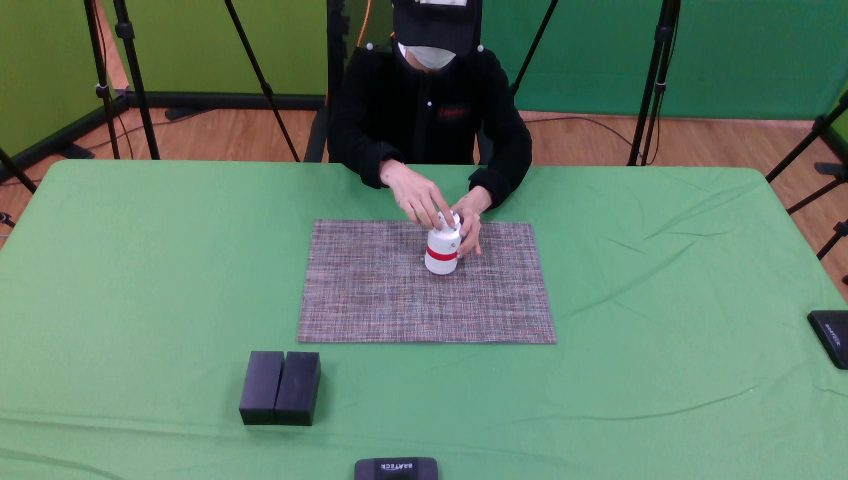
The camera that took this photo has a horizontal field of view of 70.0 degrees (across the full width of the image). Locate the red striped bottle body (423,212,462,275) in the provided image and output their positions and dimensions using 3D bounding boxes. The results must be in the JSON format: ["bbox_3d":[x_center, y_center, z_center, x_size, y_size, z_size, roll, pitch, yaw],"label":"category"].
[{"bbox_3d":[0.035,0.003,1.123,0.063,0.120,0.062,4,44,-4],"label":"red striped bottle body"}]

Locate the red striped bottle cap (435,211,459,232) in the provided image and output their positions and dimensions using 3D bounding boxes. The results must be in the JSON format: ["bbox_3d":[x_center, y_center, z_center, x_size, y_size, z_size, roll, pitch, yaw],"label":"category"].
[{"bbox_3d":[0.041,-0.034,1.086,0.044,0.018,0.044,1,41,-1],"label":"red striped bottle cap"}]
